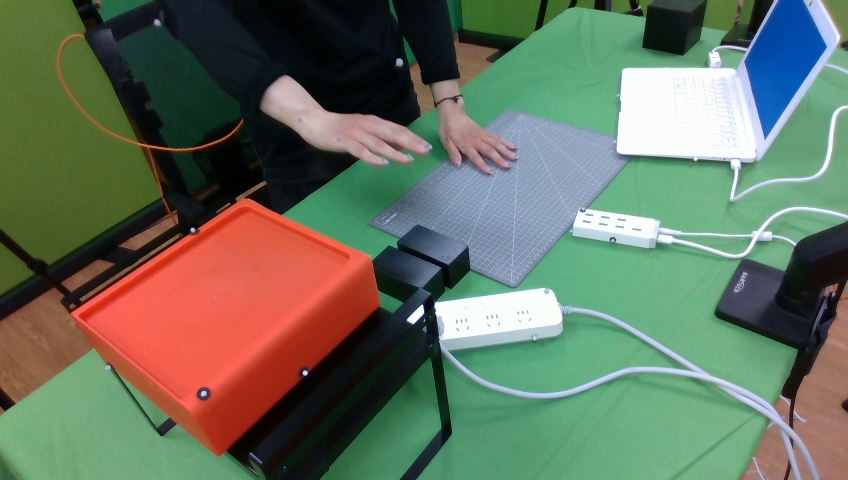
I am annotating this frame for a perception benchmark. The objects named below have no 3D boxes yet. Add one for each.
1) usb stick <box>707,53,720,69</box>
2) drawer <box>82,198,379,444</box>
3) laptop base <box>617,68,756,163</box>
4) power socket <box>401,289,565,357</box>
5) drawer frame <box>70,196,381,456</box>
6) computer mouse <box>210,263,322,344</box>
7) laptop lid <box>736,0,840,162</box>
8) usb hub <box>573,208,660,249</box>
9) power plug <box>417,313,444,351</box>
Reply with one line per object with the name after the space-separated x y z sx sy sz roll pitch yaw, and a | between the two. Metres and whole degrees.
0.629 -0.382 1.313 0.021 0.027 0.059 2 46 17 | usb stick
-0.185 0.066 0.600 0.193 0.073 0.212 24 50 31 | drawer
0.509 -0.255 1.201 0.234 0.023 0.353 4 41 16 | laptop base
0.080 0.112 0.822 0.227 0.033 0.072 -7 41 0 | power socket
-0.186 0.068 0.597 0.200 0.083 0.214 23 49 30 | drawer frame
-0.164 0.062 0.624 0.116 0.041 0.063 23 44 27 | computer mouse
0.640 -0.327 1.090 0.013 0.242 0.356 16 43 5 | laptop lid
0.301 -0.019 0.949 0.124 0.025 0.049 11 43 20 | usb hub
0.007 0.127 0.786 0.035 0.053 0.072 0 43 8 | power plug
